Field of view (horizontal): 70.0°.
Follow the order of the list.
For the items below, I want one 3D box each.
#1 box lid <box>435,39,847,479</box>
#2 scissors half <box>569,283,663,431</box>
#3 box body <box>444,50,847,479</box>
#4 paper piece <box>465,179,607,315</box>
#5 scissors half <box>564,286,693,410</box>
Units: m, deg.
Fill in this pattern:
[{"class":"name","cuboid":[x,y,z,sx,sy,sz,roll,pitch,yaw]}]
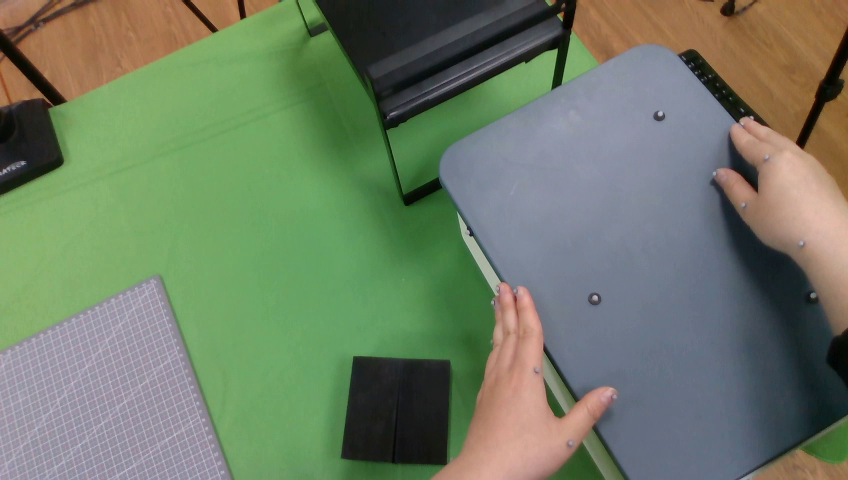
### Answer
[{"class":"box lid","cuboid":[0.198,-0.001,0.525,0.263,0.015,0.368,-28,69,-5]},{"class":"scissors half","cuboid":[0.195,0.119,0.640,0.040,0.013,0.173,-20,62,-2]},{"class":"box body","cuboid":[0.212,0.033,0.596,0.254,0.161,0.361,-28,69,-6]},{"class":"paper piece","cuboid":[0.131,0.005,0.706,0.136,0.009,0.137,-16,80,-8]},{"class":"scissors half","cuboid":[0.213,0.109,0.643,0.040,0.013,0.173,-38,65,-17]}]
